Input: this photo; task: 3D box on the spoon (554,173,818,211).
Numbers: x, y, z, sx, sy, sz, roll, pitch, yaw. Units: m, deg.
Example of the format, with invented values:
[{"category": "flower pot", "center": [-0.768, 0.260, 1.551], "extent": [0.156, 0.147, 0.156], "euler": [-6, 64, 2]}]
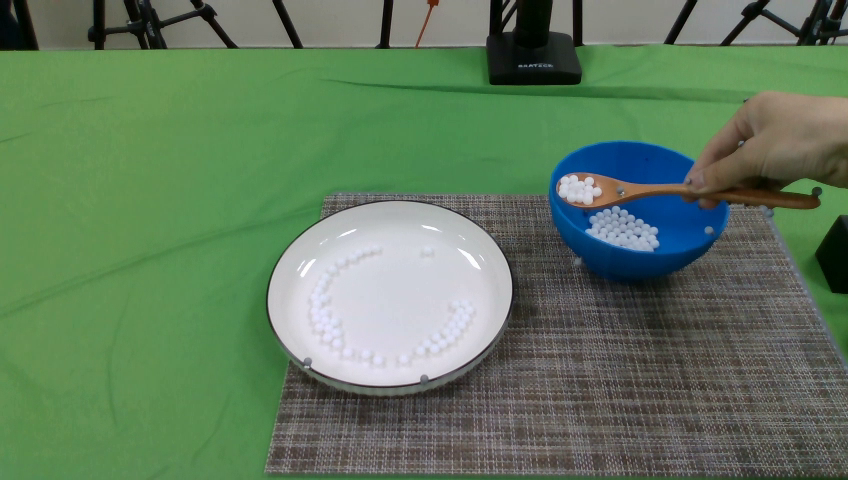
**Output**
[{"category": "spoon", "center": [0.190, -0.035, 0.467], "extent": [0.192, 0.022, 0.041], "euler": [6, 48, 42]}]

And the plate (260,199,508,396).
[{"category": "plate", "center": [-0.033, 0.047, 0.522], "extent": [0.208, 0.039, 0.205], "euler": [0, 46, 1]}]

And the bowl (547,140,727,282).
[{"category": "bowl", "center": [0.183, -0.015, 0.550], "extent": [0.151, 0.077, 0.150], "euler": [0, 45, 1]}]
